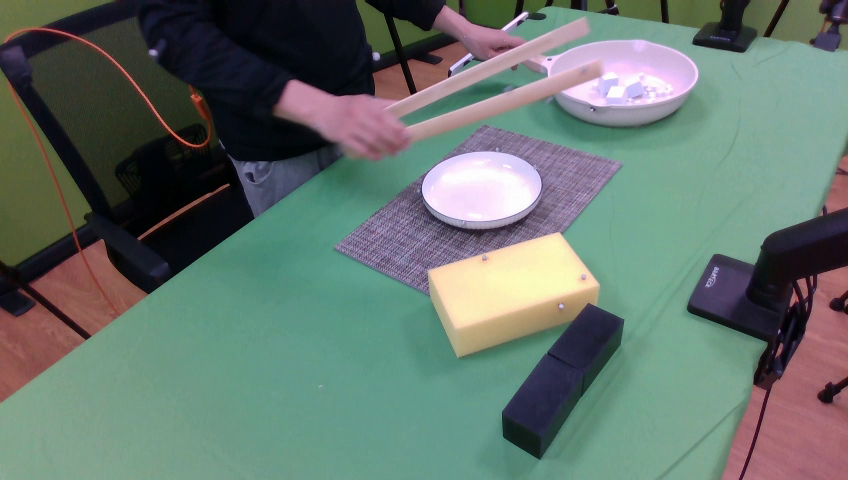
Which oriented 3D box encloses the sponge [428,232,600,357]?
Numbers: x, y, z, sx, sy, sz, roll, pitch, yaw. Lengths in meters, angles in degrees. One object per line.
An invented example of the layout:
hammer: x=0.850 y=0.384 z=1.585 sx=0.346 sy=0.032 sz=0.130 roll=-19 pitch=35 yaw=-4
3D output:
sponge: x=0.120 y=0.071 z=0.834 sx=0.207 sy=0.061 sz=0.117 roll=-16 pitch=43 yaw=-12

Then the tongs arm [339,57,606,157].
tongs arm: x=0.051 y=-0.180 z=0.825 sx=0.383 sy=0.027 sz=0.050 roll=-16 pitch=44 yaw=20

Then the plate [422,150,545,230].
plate: x=0.101 y=-0.082 z=1.031 sx=0.207 sy=0.039 sz=0.206 roll=-4 pitch=40 yaw=4

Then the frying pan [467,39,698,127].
frying pan: x=0.312 y=-0.359 z=1.277 sx=0.485 sy=0.103 sz=0.307 roll=23 pitch=48 yaw=19

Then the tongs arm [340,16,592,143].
tongs arm: x=0.053 y=-0.225 z=0.870 sx=0.386 sy=0.028 sz=0.028 roll=-22 pitch=46 yaw=14
